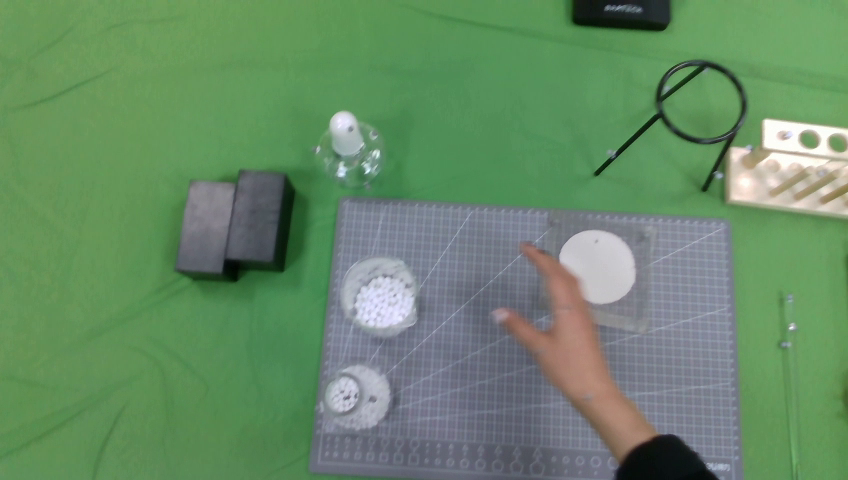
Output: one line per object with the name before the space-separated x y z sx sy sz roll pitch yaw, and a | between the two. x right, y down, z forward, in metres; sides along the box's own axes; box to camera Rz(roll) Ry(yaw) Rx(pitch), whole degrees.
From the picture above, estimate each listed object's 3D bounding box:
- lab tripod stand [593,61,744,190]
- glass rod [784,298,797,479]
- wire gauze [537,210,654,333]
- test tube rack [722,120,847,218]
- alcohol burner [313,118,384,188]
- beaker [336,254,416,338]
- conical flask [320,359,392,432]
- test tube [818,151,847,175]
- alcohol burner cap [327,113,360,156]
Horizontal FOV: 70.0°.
lab tripod stand | 0.267 -0.117 0.655 0.148 0.132 0.147 0 77 1
glass rod | 0.394 0.161 0.649 0.008 0.008 0.199 5 78 1
wire gauze | 0.193 0.033 0.678 0.125 0.011 0.121 12 76 0
test tube rack | 0.470 -0.070 0.669 0.242 0.085 0.066 7 75 2
alcohol burner | -0.084 -0.101 0.659 0.078 0.119 0.077 0 76 2
beaker | -0.043 0.063 0.622 0.083 0.100 0.074 40 79 9
conical flask | -0.072 0.150 0.588 0.075 0.122 0.075 0 75 0
test tube | 0.455 -0.099 0.625 0.017 0.151 0.017 -1 75 3
alcohol burner cap | -0.084 -0.112 0.625 0.034 0.048 0.033 1 69 -1
